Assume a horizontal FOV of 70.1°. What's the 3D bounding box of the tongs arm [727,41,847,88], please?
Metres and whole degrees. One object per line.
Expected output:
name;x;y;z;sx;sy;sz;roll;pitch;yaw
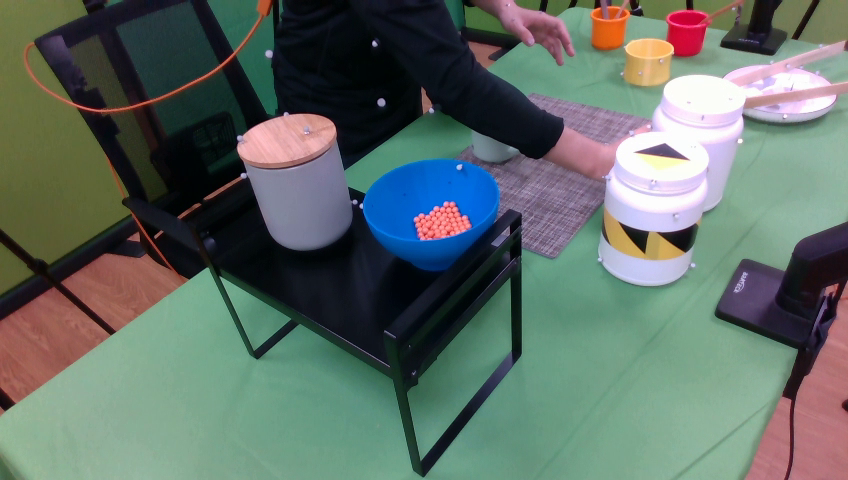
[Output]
tongs arm;0.712;-0.332;1.194;0.386;0.026;0.050;-19;45;-16

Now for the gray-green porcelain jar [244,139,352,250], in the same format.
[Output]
gray-green porcelain jar;-0.144;-0.060;0.714;0.106;0.127;0.105;-4;41;4

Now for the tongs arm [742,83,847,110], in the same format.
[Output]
tongs arm;0.738;-0.281;1.134;0.388;0.028;0.028;-9;47;-5

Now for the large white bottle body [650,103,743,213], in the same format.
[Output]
large white bottle body;0.422;-0.148;0.957;0.130;0.185;0.130;-3;42;3

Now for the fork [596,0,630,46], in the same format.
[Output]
fork;0.481;-0.556;1.452;0.028;0.019;0.207;40;103;39

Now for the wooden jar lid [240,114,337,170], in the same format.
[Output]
wooden jar lid;-0.149;-0.106;0.673;0.108;0.021;0.108;-6;39;5

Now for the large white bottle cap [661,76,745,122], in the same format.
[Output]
large white bottle cap;0.414;-0.211;0.901;0.115;0.018;0.114;-3;41;3

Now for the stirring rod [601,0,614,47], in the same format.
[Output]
stirring rod;0.439;-0.552;1.463;0.014;0.006;0.175;-7;83;2

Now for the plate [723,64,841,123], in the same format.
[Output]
plate;0.695;-0.282;1.189;0.207;0.039;0.206;-4;40;4

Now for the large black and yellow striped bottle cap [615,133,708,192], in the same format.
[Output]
large black and yellow striped bottle cap;0.313;-0.105;0.799;0.115;0.019;0.114;-5;41;5

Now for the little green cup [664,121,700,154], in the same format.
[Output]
little green cup;0.473;-0.188;1.113;0.061;0.039;0.061;-6;40;5

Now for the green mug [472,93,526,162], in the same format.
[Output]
green mug;0.144;-0.202;1.122;0.093;0.105;0.124;-29;45;-23

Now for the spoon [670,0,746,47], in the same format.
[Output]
spoon;0.629;-0.485;1.350;0.022;0.193;0.042;48;54;-7

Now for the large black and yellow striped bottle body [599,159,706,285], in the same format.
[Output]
large black and yellow striped bottle body;0.320;-0.042;0.854;0.131;0.185;0.130;-4;41;4

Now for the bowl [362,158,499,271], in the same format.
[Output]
bowl;0.011;-0.019;0.679;0.151;0.077;0.150;-5;41;5

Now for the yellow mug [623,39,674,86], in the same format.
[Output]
yellow mug;0.484;-0.398;1.334;0.100;0.064;0.130;-18;41;-11
